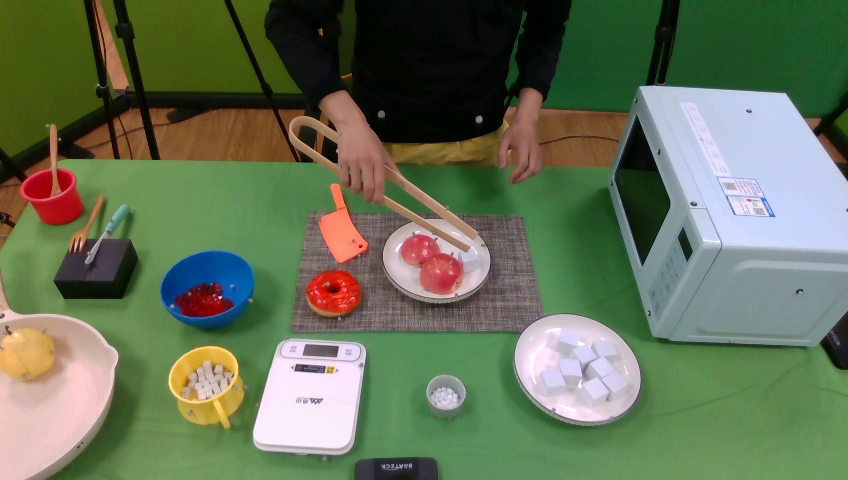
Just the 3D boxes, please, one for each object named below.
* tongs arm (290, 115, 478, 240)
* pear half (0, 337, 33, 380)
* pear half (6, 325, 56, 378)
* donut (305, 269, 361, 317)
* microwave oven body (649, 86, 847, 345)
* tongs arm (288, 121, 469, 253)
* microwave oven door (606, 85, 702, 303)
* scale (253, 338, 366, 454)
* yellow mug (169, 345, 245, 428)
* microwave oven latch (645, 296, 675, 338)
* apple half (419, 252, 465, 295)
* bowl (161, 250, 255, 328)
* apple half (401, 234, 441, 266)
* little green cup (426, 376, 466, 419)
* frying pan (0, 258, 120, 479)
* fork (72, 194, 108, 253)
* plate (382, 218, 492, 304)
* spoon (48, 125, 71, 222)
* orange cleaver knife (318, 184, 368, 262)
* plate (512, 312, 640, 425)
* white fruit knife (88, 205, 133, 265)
[{"bbox_3d":[-0.073,-0.107,1.079,0.384,0.026,0.050,37,60,3],"label":"tongs arm"},{"bbox_3d":[-0.631,0.184,0.921,0.070,0.088,0.031,29,49,19],"label":"pear half"},{"bbox_3d":[-0.608,0.158,0.935,0.076,0.110,0.056,31,51,20],"label":"pear half"},{"bbox_3d":[-0.160,0.094,1.075,0.099,0.048,0.098,4,46,-4],"label":"donut"},{"bbox_3d":[0.567,-0.053,1.118,0.326,0.261,0.439,2,45,-1],"label":"microwave oven body"},{"bbox_3d":[-0.085,-0.090,1.067,0.387,0.028,0.028,33,63,1],"label":"tongs arm"},{"bbox_3d":[0.422,-0.094,1.140,0.039,0.245,0.353,2,46,-1],"label":"microwave oven door"},{"bbox_3d":[-0.175,0.236,0.951,0.149,0.032,0.199,4,45,0],"label":"scale"},{"bbox_3d":[-0.322,0.230,0.922,0.100,0.064,0.130,-24,53,-25],"label":"yellow mug"},{"bbox_3d":[0.411,0.134,1.061,0.030,0.029,0.078,3,45,0],"label":"microwave oven latch"},{"bbox_3d":[0.035,0.056,1.109,0.074,0.053,0.081,38,55,25],"label":"apple half"},{"bbox_3d":[-0.362,0.098,1.039,0.151,0.077,0.150,2,45,-2],"label":"bowl"},{"bbox_3d":[-0.005,0.014,1.159,0.081,0.033,0.081,4,45,-4],"label":"apple half"},{"bbox_3d":[0.033,0.248,0.950,0.061,0.039,0.061,2,46,-2],"label":"little green cup"},{"bbox_3d":[-0.647,0.164,0.936,0.307,0.103,0.485,-19,58,-22],"label":"frying pan"},{"bbox_3d":[-0.634,-0.036,1.158,0.028,0.019,0.206,-8,32,-8],"label":"fork"},{"bbox_3d":[0.023,0.042,1.143,0.209,0.038,0.208,2,46,-2],"label":"plate"},{"bbox_3d":[-0.718,-0.131,1.188,0.041,0.021,0.193,-3,90,-7],"label":"spoon"},{"bbox_3d":[-0.173,-0.037,1.218,0.077,0.012,0.210,-16,50,-12],"label":"orange cleaver knife"},{"bbox_3d":[0.246,0.213,0.999,0.208,0.039,0.206,2,46,-2],"label":"plate"},{"bbox_3d":[-0.584,-0.013,1.129,0.016,0.027,0.206,0,32,-5],"label":"white fruit knife"}]
